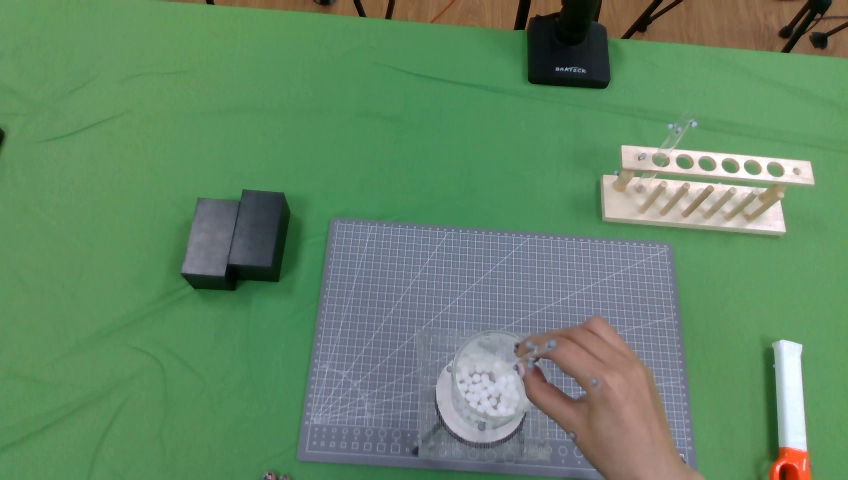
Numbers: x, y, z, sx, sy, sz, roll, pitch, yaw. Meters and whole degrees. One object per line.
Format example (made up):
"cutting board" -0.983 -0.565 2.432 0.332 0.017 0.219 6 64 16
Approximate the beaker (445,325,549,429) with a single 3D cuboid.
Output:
"beaker" 0.059 0.125 0.534 0.084 0.101 0.073 0 66 -3

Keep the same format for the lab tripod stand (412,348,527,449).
"lab tripod stand" 0.050 0.170 0.639 0.148 0.132 0.147 1 65 -1

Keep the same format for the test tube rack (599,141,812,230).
"test tube rack" 0.362 -0.070 0.790 0.242 0.086 0.066 4 66 -1

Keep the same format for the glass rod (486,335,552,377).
"glass rod" 0.071 0.097 0.490 0.008 0.200 0.008 2 71 -5

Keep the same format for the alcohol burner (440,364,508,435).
"alcohol burner" 0.055 0.168 0.651 0.078 0.120 0.077 2 65 -4

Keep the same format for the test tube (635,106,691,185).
"test tube" 0.292 -0.113 0.751 0.017 0.151 0.017 1 63 -1

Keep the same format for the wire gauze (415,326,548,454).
"wire gauze" 0.053 0.141 0.580 0.125 0.011 0.120 1 64 -1

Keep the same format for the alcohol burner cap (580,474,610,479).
"alcohol burner cap" 0.188 0.271 0.657 0.034 0.048 0.033 1 65 -2

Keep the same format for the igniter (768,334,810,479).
"igniter" 0.417 0.242 0.690 0.057 0.025 0.274 15 67 -8
